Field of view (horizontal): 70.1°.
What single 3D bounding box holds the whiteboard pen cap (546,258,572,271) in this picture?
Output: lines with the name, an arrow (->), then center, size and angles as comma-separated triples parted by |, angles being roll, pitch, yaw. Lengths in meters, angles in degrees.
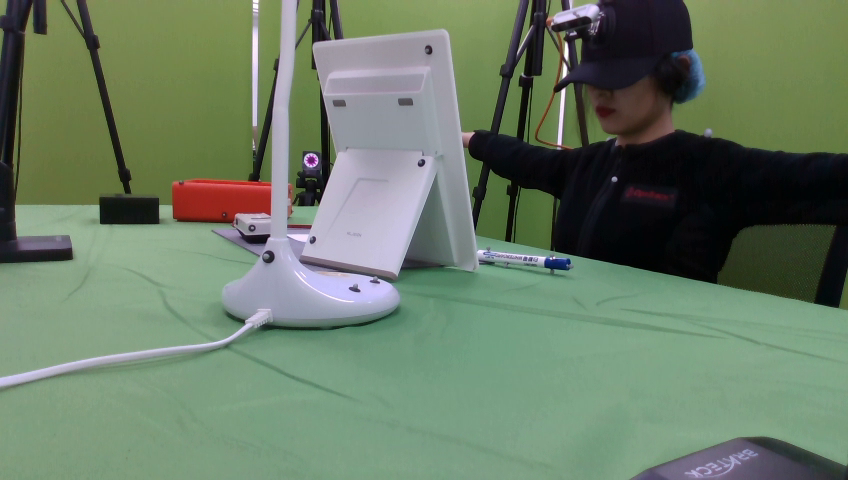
whiteboard pen cap -> 0.176, 0.032, 0.790 | 0.033, 0.018, 0.018 | 3, 7, 37

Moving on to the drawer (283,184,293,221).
drawer -> -0.396, -0.084, 1.301 | 0.212, 0.073, 0.194 | 1, 8, -7

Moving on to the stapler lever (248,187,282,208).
stapler lever -> -0.341, -0.092, 1.307 | 0.027, 0.040, 0.118 | 19, 6, 12

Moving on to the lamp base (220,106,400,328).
lamp base -> -0.101, -0.023, 0.531 | 0.160, 0.180, 0.179 | 4, 10, 10

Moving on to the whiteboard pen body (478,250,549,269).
whiteboard pen body -> 0.130, 0.028, 0.827 | 0.140, 0.017, 0.017 | 7, 8, 38

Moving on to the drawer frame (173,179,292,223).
drawer frame -> -0.400, -0.086, 1.300 | 0.214, 0.082, 0.201 | 1, 8, -8

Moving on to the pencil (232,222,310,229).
pencil -> -0.261, -0.025, 1.141 | 0.195, 0.012, 0.012 | 1, 7, -26

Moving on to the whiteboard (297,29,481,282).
whiteboard -> -0.076, -0.082, 0.741 | 0.216, 0.305, 0.144 | 9, 29, 37

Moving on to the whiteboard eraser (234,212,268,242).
whiteboard eraser -> -0.270, -0.021, 0.975 | 0.056, 0.042, 0.112 | 0, 8, -27

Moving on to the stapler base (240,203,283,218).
stapler base -> -0.349, -0.065, 1.309 | 0.041, 0.024, 0.131 | 19, 8, 12
